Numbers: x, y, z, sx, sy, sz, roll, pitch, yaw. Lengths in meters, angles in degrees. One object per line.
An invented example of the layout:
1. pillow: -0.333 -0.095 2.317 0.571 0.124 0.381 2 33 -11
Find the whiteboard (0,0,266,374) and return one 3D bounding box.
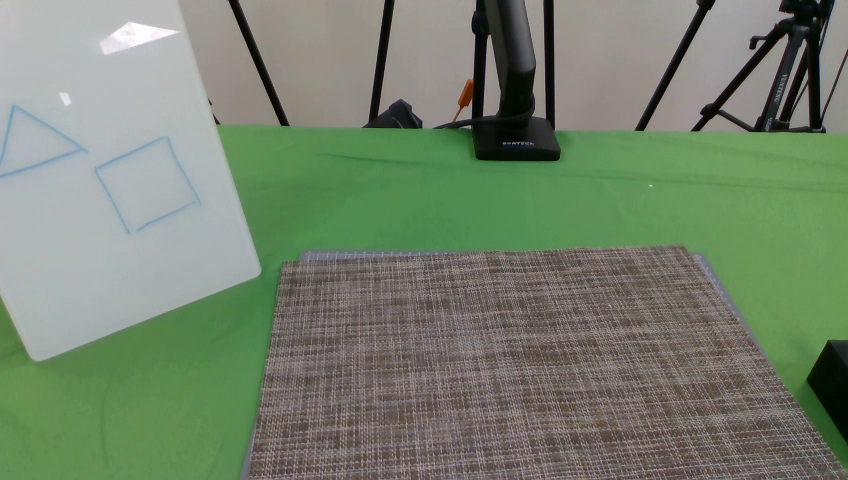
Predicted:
1. whiteboard: -0.318 -0.071 0.585 0.217 0.307 0.142 -23 23 -29
